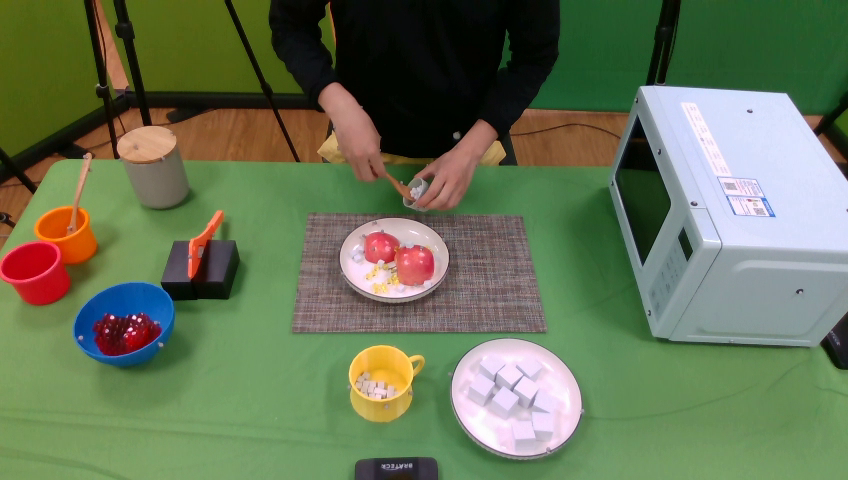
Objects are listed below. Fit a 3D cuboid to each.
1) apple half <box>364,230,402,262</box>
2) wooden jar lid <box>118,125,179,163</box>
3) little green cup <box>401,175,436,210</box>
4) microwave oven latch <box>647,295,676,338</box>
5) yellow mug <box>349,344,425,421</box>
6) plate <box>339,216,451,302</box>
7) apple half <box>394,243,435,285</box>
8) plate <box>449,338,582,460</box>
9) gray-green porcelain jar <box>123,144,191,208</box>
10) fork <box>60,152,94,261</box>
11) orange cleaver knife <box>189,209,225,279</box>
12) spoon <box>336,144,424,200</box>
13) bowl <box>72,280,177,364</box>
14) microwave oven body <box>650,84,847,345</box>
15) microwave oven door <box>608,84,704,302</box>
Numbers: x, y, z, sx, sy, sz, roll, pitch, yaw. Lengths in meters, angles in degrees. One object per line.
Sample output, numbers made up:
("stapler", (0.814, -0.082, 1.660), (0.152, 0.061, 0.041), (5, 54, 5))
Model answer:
("apple half", (-0.079, 0.004, 1.159), (0.081, 0.033, 0.081), (3, 49, -3))
("wooden jar lid", (-0.528, -0.181, 1.167), (0.108, 0.021, 0.107), (4, 48, -4))
("little green cup", (-0.009, -0.088, 1.153), (0.061, 0.039, 0.061), (-14, 64, 31))
("microwave oven latch", (0.413, 0.133, 1.060), (0.030, 0.029, 0.078), (4, 46, 1))
("yellow mug", (-0.054, 0.217, 0.954), (0.131, 0.064, 0.099), (-24, 53, -25))
("plate", (-0.054, 0.038, 1.137), (0.209, 0.038, 0.208), (2, 46, -2))
("apple half", (-0.017, 0.037, 1.121), (0.075, 0.053, 0.080), (1, 45, -6))
("plate", (0.141, 0.251, 0.955), (0.208, 0.039, 0.206), (2, 47, -2))
("gray-green porcelain jar", (-0.530, -0.137, 1.213), (0.106, 0.127, 0.105), (2, 46, -2))
("fork", (-0.638, -0.063, 1.119), (0.028, 0.018, 0.207), (12, 90, 8))
("orange cleaver knife", (-0.400, 0.002, 1.122), (0.012, 0.077, 0.210), (4, 23, -4))
("spoon", (-0.078, -0.127, 1.127), (0.194, 0.021, 0.041), (33, 33, -20))
("bowl", (-0.472, 0.147, 0.982), (0.151, 0.077, 0.150), (2, 46, -2))
("microwave oven body", (0.569, -0.054, 1.116), (0.326, 0.261, 0.439), (2, 46, -1))
("microwave oven door", (0.424, -0.096, 1.138), (0.039, 0.245, 0.353), (2, 46, -1))
